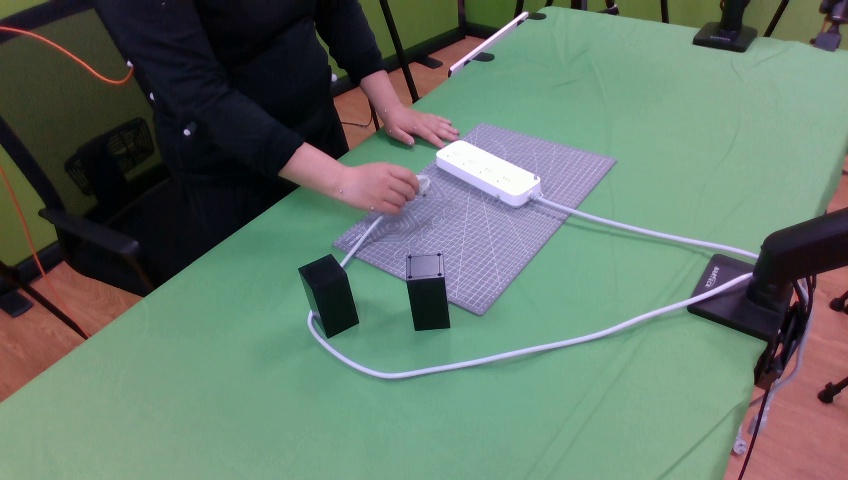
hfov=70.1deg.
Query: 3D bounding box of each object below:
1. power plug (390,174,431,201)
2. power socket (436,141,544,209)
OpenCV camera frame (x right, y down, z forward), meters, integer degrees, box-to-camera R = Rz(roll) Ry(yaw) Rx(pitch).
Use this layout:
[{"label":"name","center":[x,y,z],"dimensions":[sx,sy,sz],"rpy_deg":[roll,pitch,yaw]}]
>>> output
[{"label":"power plug","center":[-0.022,-0.084,1.008],"dimensions":[0.072,0.053,0.035],"rpy_deg":[-29,55,7]},{"label":"power socket","center":[0.112,-0.120,1.082],"dimensions":[0.072,0.033,0.224],"rpy_deg":[-34,47,-27]}]
